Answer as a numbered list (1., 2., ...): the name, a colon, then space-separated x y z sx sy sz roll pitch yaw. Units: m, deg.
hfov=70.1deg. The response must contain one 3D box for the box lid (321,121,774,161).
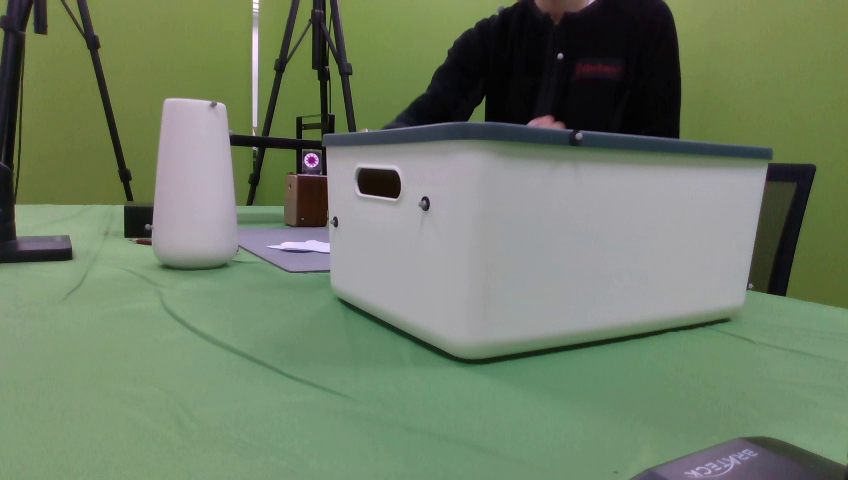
1. box lid: 0.114 -0.085 0.573 0.373 0.015 0.262 -2 7 -33

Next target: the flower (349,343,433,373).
1. flower: 0.103 0.072 0.592 0.362 0.044 0.038 -16 44 -9

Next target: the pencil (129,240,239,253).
1. pencil: -0.350 0.008 0.874 0.193 0.012 0.012 3 7 19

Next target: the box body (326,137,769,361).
1. box body: 0.112 -0.010 0.583 0.366 0.160 0.253 -2 9 -33

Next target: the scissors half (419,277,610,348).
1. scissors half: 0.076 0.067 0.533 0.174 0.040 0.013 14 50 24

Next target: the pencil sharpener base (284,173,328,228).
1. pencil sharpener base: -0.239 -0.081 1.231 0.077 0.107 0.061 -2 8 -36

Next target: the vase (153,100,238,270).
1. vase: -0.278 -0.066 0.736 0.098 0.200 0.098 2 9 0

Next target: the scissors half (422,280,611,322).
1. scissors half: 0.073 0.057 0.524 0.174 0.040 0.013 5 40 30
